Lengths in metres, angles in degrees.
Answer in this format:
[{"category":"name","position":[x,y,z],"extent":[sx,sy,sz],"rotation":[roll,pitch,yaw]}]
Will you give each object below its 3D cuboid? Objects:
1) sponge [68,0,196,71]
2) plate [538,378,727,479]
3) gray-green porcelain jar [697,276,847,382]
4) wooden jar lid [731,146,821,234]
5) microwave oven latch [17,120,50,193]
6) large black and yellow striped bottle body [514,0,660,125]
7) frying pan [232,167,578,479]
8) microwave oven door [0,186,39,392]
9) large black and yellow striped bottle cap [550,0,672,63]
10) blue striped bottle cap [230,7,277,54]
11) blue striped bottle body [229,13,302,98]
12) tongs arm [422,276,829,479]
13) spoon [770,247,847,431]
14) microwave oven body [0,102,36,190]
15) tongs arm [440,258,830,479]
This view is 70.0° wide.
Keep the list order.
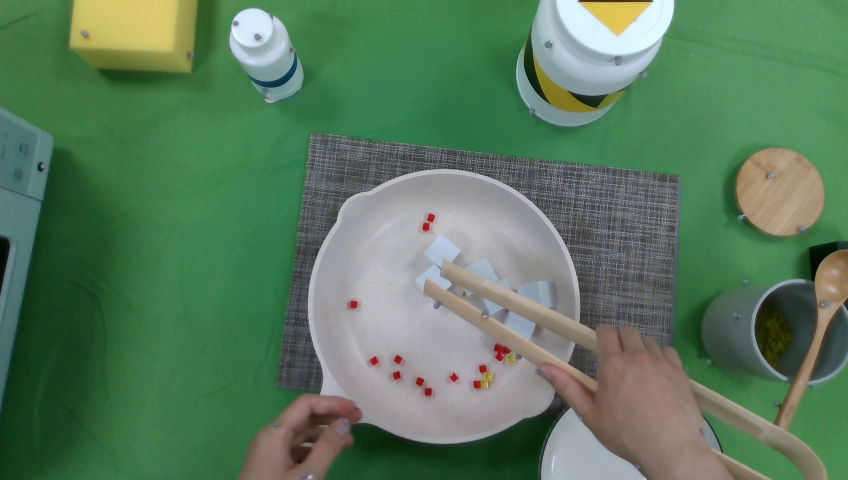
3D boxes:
[{"category":"sponge","position":[-0.339,-0.313,0.719],"extent":[0.118,0.061,0.206],"rotation":[2,84,-2]},{"category":"plate","position":[0.228,0.257,0.677],"extent":[0.208,0.039,0.207],"rotation":[0,84,-2]},{"category":"gray-green porcelain jar","position":[0.369,0.096,0.658],"extent":[0.106,0.127,0.105],"rotation":[0,82,-1]},{"category":"wooden jar lid","position":[0.422,-0.060,0.733],"extent":[0.108,0.021,0.108],"rotation":[0,84,-1]},{"category":"microwave oven latch","position":[-0.446,-0.094,0.682],"extent":[0.030,0.029,0.079],"rotation":[10,83,-1]},{"category":"large black and yellow striped bottle body","position":[0.176,-0.216,0.662],"extent":[0.131,0.184,0.130],"rotation":[0,82,-2]},{"category":"frying pan","position":[-0.056,0.135,0.648],"extent":[0.487,0.103,0.306],"rotation":[-41,85,-14]},{"category":"microwave oven door","position":[-0.473,0.108,0.554],"extent":[0.039,0.244,0.354],"rotation":[7,82,-1]},{"category":"large black and yellow striped bottle cap","position":[0.179,-0.228,0.579],"extent":[0.115,0.019,0.114],"rotation":[0,84,-1]},{"category":"blue striped bottle cap","position":[-0.178,-0.219,0.631],"extent":[0.044,0.020,0.044],"rotation":[0,84,-2]},{"category":"blue striped bottle body","position":[-0.178,-0.211,0.681],"extent":[0.063,0.121,0.063],"rotation":[0,82,-1]},{"category":"tongs arm","position":[0.166,0.125,0.558],"extent":[0.382,0.027,0.050],"rotation":[31,42,21]},{"category":"spoon","position":[0.374,0.098,0.588],"extent":[0.042,0.021,0.193],"rotation":[22,86,-5]},{"category":"microwave oven body","position":[-0.612,0.049,0.562],"extent":[0.326,0.260,0.440],"rotation":[7,83,-1]},{"category":"tongs arm","position":[0.178,0.113,0.575],"extent":[0.385,0.028,0.028],"rotation":[28,38,18]}]
